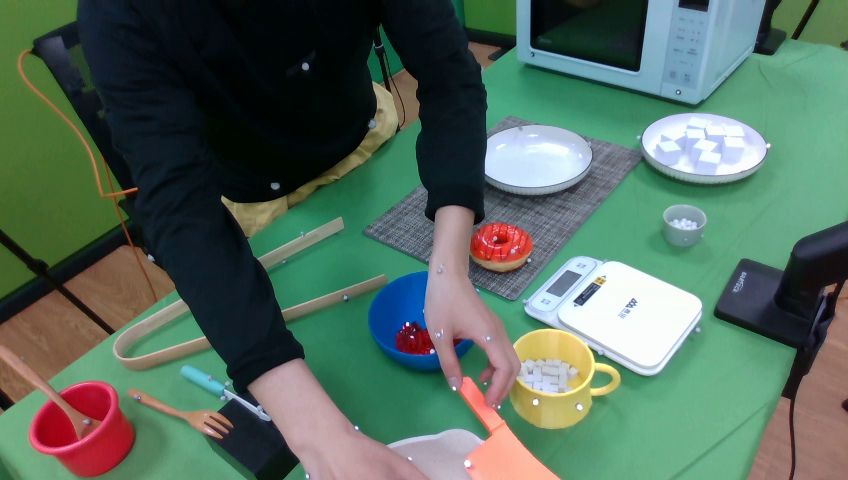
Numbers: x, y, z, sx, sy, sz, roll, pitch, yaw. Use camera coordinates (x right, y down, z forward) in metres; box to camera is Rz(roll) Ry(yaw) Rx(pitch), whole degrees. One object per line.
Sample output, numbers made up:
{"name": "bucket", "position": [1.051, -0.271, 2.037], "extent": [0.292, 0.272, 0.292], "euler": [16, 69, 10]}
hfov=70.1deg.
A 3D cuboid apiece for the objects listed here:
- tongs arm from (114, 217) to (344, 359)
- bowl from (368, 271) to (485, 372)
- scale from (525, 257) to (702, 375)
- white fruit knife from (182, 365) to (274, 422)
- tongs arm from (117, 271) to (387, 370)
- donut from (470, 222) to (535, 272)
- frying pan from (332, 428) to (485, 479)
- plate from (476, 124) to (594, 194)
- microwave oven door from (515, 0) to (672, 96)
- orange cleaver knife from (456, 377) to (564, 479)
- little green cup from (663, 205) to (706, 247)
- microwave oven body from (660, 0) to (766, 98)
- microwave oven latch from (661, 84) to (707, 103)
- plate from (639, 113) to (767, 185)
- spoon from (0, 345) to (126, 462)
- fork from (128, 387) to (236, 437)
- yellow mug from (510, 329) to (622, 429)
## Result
{"name": "tongs arm", "position": [-0.280, 0.067, 0.927], "extent": [0.386, 0.026, 0.050], "euler": [-29, 48, -23]}
{"name": "bowl", "position": [0.007, 0.119, 0.791], "extent": [0.151, 0.077, 0.150], "euler": [-5, 40, 4]}
{"name": "scale", "position": [0.254, 0.091, 0.821], "extent": [0.199, 0.032, 0.149], "euler": [28, 51, 35]}
{"name": "white fruit knife", "position": [-0.245, 0.188, 0.747], "extent": [0.205, 0.027, 0.016], "euler": [9, 40, 41]}
{"name": "tongs arm", "position": [-0.236, 0.114, 0.870], "extent": [0.389, 0.028, 0.028], "euler": [-18, 49, -12]}
{"name": "donut", "position": [0.119, 0.009, 0.923], "extent": [0.099, 0.048, 0.098], "euler": [-3, 38, 3]}
{"name": "frying pan", "position": [-0.089, 0.306, 0.564], "extent": [0.487, 0.103, 0.306], "euler": [10, 41, 7]}
{"name": "plate", "position": [0.199, -0.142, 1.093], "extent": [0.209, 0.038, 0.208], "euler": [-4, 40, 4]}
{"name": "microwave oven door", "position": [0.343, -0.454, 1.259], "extent": [0.353, 0.245, 0.039], "euler": [26, 51, 33]}
{"name": "orange cleaver knife", "position": [0.081, 0.220, 0.611], "extent": [0.077, 0.012, 0.209], "euler": [-26, 43, -22]}
{"name": "little green cup", "position": [0.396, -0.020, 0.926], "extent": [0.061, 0.039, 0.061], "euler": [-4, 40, 4]}
{"name": "microwave oven body", "position": [0.472, -0.513, 1.317], "extent": [0.438, 0.261, 0.327], "euler": [26, 51, 34]}
{"name": "microwave oven latch", "position": [0.517, -0.296, 1.204], "extent": [0.078, 0.029, 0.030], "euler": [27, 52, 35]}
{"name": "plate", "position": [0.489, -0.157, 1.074], "extent": [0.207, 0.039, 0.206], "euler": [-4, 40, 4]}
{"name": "spoon", "position": [-0.434, 0.192, 0.720], "extent": [0.194, 0.021, 0.042], "euler": [47, 53, -7]}
{"name": "fork", "position": [-0.305, 0.207, 0.744], "extent": [0.206, 0.019, 0.028], "euler": [3, 40, 36]}
{"name": "yellow mug", "position": [0.168, 0.164, 0.721], "extent": [0.130, 0.064, 0.099], "euler": [0, 40, 8]}
